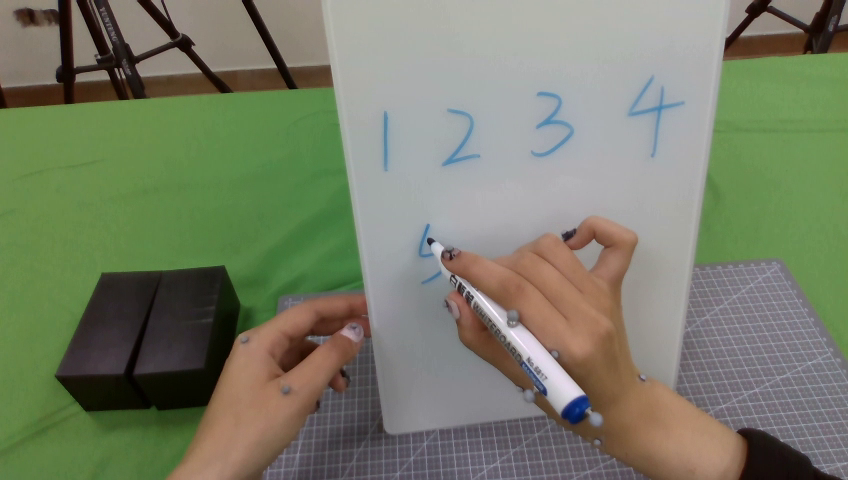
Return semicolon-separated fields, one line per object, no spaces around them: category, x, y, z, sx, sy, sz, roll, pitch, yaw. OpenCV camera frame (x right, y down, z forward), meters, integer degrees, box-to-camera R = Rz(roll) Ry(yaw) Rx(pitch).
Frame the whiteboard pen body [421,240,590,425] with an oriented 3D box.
whiteboard pen body;0.035;0.041;0.320;0.017;0.017;0.139;-24;48;-20

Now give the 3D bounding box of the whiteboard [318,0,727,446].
whiteboard;0.060;-0.030;0.434;0.217;0.307;0.142;-6;26;-2
